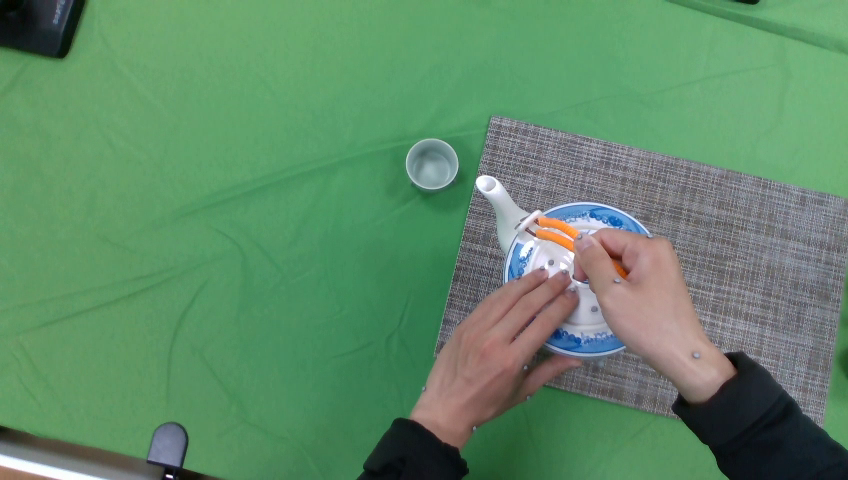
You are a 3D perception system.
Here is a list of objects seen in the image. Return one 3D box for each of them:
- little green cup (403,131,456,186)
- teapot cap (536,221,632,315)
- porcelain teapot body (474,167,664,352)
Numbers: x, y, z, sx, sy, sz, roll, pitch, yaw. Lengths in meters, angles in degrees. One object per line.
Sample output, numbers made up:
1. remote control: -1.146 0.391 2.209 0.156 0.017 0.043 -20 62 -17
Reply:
1. little green cup: 0.006 -0.094 0.713 0.061 0.039 0.061 0 81 0
2. teapot cap: 0.140 0.023 0.531 0.085 0.044 0.084 -2 76 9
3. porcelain teapot body: 0.125 0.012 0.577 0.204 0.226 0.145 42 89 15
